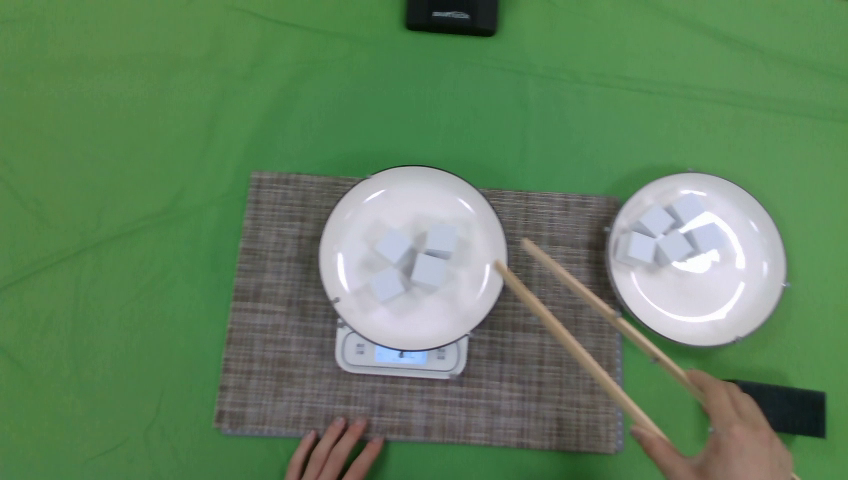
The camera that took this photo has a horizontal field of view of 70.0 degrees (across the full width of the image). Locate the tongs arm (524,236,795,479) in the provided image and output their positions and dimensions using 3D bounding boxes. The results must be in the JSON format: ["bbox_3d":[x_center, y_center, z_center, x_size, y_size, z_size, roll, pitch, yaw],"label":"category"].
[{"bbox_3d":[0.219,0.137,0.550,0.051,0.027,0.382,-41,69,-17],"label":"tongs arm"}]

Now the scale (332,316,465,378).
[{"bbox_3d":[-0.024,0.053,0.697,0.149,0.031,0.200,4,78,-1],"label":"scale"}]

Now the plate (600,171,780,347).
[{"bbox_3d":[0.308,0.023,0.715,0.208,0.039,0.206,0,78,-2],"label":"plate"}]

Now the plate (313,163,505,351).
[{"bbox_3d":[-0.016,0.018,0.671,0.209,0.038,0.208,1,78,-2],"label":"plate"}]

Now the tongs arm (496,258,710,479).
[{"bbox_3d":[0.199,0.152,0.543,0.028,0.028,0.384,-36,68,-19],"label":"tongs arm"}]
